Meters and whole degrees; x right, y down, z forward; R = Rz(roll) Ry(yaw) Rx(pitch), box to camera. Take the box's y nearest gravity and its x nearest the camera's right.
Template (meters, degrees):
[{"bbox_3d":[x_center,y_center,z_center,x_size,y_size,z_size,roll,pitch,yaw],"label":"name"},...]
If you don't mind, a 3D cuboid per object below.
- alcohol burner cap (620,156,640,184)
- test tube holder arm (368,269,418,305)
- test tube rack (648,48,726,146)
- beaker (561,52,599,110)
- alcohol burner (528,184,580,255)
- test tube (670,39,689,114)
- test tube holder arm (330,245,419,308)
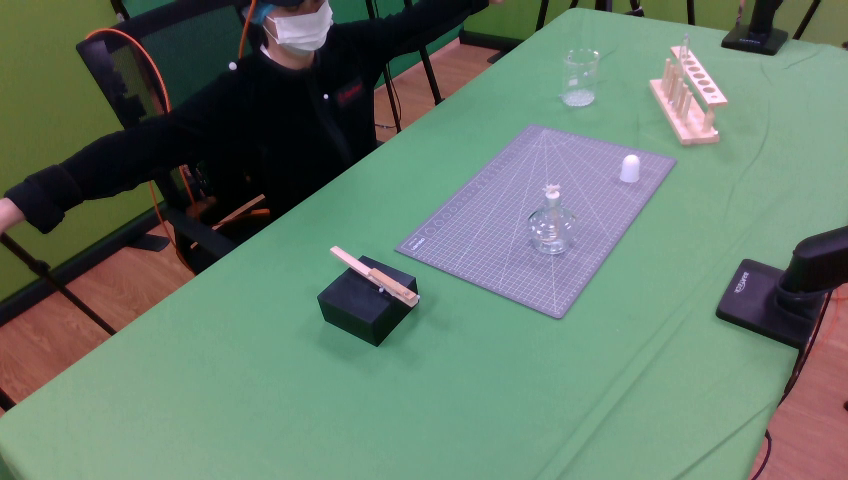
[{"bbox_3d":[0.358,-0.124,1.047,0.034,0.048,0.033,-4,40,4],"label":"alcohol burner cap"},{"bbox_3d":[-0.043,0.063,0.827,0.015,0.010,0.087,-37,47,-29],"label":"test tube holder arm"},{"bbox_3d":[0.509,-0.285,1.186,0.067,0.085,0.241,-4,40,5],"label":"test tube rack"},{"bbox_3d":[0.325,-0.331,1.260,0.084,0.101,0.073,-20,42,-15],"label":"beaker"},{"bbox_3d":[0.196,-0.035,0.911,0.078,0.119,0.077,-6,41,5],"label":"alcohol burner"},{"bbox_3d":[0.484,-0.308,1.146,0.017,0.151,0.017,-5,41,5],"label":"test tube"},{"bbox_3d":[-0.074,0.049,0.857,0.177,0.013,0.015,30,53,36],"label":"test tube holder arm"}]
